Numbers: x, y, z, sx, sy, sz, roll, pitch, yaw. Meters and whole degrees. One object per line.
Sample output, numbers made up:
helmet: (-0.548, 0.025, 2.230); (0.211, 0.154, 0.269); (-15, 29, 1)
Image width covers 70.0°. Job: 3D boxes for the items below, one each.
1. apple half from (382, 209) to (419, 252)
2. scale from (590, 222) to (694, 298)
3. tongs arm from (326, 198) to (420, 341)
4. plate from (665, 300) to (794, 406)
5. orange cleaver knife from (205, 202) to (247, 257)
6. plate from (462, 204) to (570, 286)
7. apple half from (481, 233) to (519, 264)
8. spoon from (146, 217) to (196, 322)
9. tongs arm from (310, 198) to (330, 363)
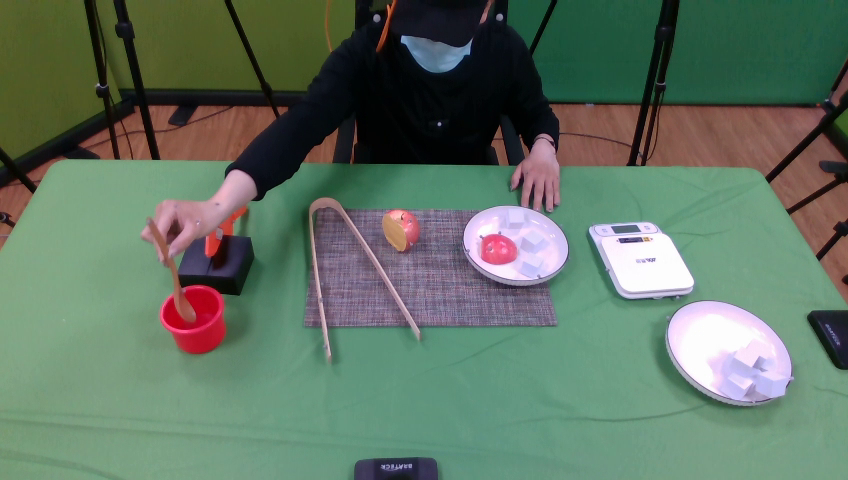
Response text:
apple half: (-0.039, -0.022, 1.175); (0.053, 0.075, 0.080); (-27, 49, -31)
scale: (0.424, 0.031, 1.189); (0.149, 0.032, 0.199); (-3, 46, -7)
tongs arm: (-0.101, 0.042, 1.139); (0.028, 0.028, 0.385); (-22, 51, -17)
plate: (0.513, 0.194, 1.034); (0.208, 0.039, 0.206); (2, 46, -2)
orange cleaver knife: (-0.374, -0.023, 1.151); (0.012, 0.077, 0.210); (4, 16, 1)
plate: (0.177, 0.013, 1.180); (0.209, 0.038, 0.208); (2, 46, -2)
apple half: (0.147, 0.010, 1.174); (0.081, 0.033, 0.081); (0, 46, 0)
spoon: (-0.384, 0.047, 0.923); (0.021, 0.194, 0.041); (-6, 32, -4)
tongs arm: (-0.179, 0.058, 1.117); (0.051, 0.026, 0.382); (-9, 46, -11)
